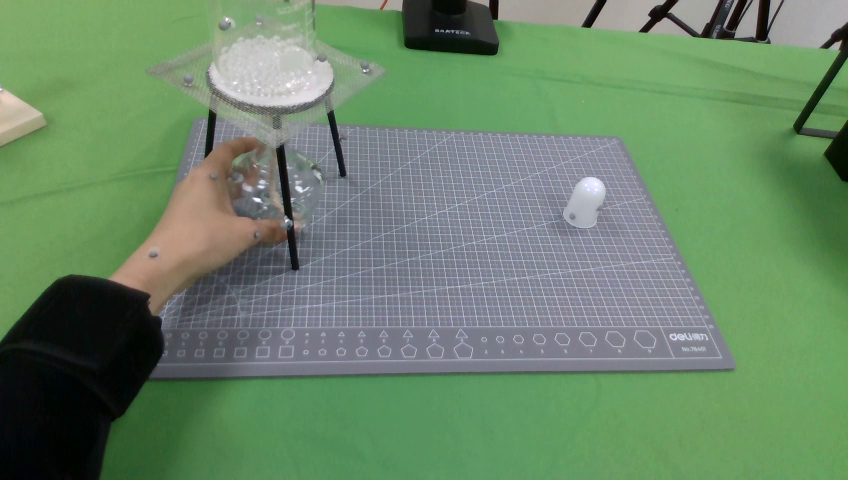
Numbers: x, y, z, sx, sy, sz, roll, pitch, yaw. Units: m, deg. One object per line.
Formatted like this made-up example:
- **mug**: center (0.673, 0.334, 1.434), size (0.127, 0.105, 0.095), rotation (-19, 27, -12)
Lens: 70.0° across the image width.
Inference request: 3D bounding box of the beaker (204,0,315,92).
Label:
- **beaker**: center (-0.109, -0.156, 0.399), size (0.073, 0.101, 0.084), rotation (31, 51, 19)

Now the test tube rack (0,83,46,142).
- **test tube rack**: center (-0.446, -0.090, 0.477), size (0.066, 0.086, 0.242), rotation (30, 49, 18)

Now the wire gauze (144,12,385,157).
- **wire gauze**: center (-0.111, -0.122, 0.434), size (0.124, 0.011, 0.121), rotation (32, 53, 15)

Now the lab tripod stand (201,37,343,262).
- **lab tripod stand**: center (-0.116, -0.077, 0.482), size (0.149, 0.132, 0.147), rotation (6, 47, -6)

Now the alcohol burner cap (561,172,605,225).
- **alcohol burner cap**: center (0.148, -0.040, 0.555), size (0.034, 0.048, 0.033), rotation (4, 46, -4)

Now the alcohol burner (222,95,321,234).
- **alcohol burner**: center (-0.120, -0.063, 0.480), size (0.078, 0.120, 0.077), rotation (7, 44, -6)
